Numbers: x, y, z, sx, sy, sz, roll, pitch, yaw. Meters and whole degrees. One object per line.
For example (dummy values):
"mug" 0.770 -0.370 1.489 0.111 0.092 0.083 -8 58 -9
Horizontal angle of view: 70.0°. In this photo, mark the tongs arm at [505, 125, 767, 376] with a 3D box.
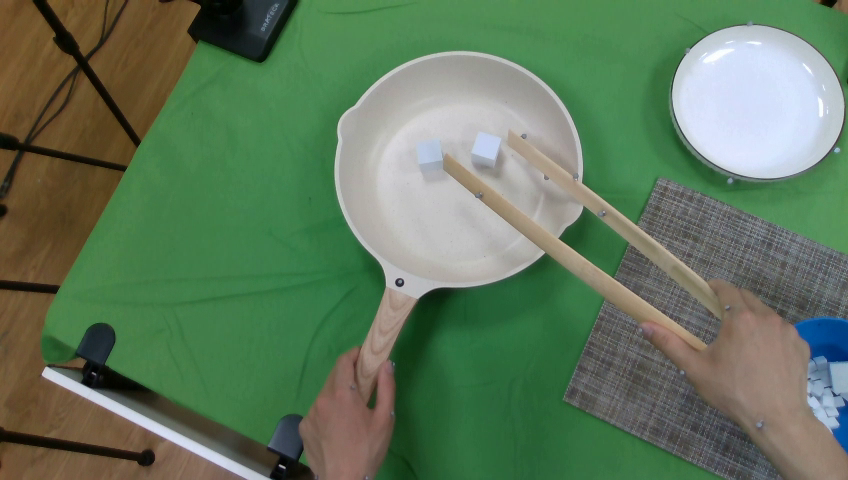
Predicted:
"tongs arm" 0.192 -0.012 0.634 0.051 0.027 0.380 -24 51 -27

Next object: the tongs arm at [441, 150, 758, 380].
"tongs arm" 0.146 0.010 0.610 0.028 0.028 0.383 -26 52 -33

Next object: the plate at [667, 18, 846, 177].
"plate" 0.405 -0.173 0.753 0.207 0.039 0.206 -1 78 4

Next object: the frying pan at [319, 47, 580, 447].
"frying pan" -0.005 0.002 0.704 0.306 0.103 0.486 23 72 9

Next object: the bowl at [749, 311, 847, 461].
"bowl" 0.419 0.156 0.655 0.151 0.077 0.150 -1 78 3
